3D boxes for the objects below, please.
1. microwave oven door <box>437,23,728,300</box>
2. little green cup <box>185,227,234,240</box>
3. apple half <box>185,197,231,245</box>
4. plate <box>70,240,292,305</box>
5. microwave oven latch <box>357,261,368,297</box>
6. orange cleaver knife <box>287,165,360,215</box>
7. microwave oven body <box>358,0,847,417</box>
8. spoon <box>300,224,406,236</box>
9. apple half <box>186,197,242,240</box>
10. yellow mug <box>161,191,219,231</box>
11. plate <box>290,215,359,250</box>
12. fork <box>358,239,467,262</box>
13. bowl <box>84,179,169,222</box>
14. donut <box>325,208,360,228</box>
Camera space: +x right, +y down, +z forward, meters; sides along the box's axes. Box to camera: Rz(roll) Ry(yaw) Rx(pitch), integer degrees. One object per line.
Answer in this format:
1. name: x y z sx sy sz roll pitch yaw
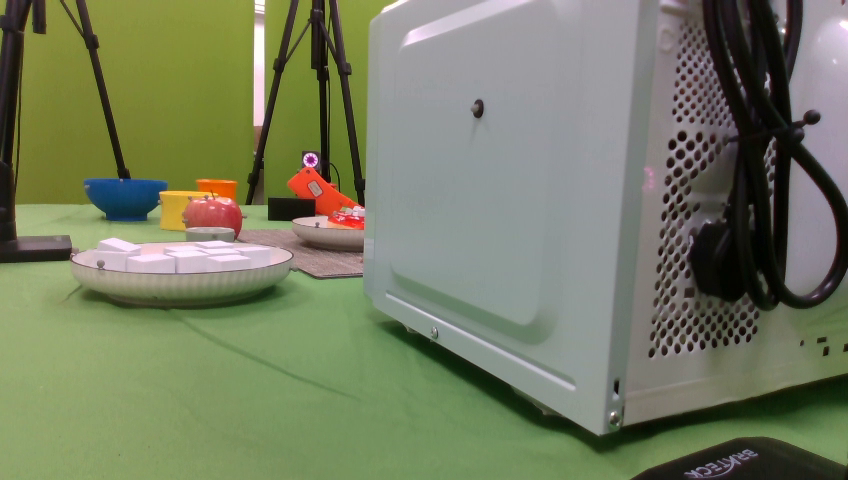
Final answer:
1. microwave oven door: 0.181 -0.072 0.621 0.358 0.243 0.039 -2 9 -29
2. little green cup: -0.285 0.005 0.805 0.061 0.038 0.061 3 8 0
3. apple half: -0.337 -0.031 0.927 0.032 0.081 0.082 13 13 37
4. plate: -0.242 0.031 0.618 0.208 0.039 0.207 2 8 0
5. microwave oven latch: -0.019 0.033 0.531 0.079 0.029 0.030 -1 7 -27
6. orange cleaver knife: -0.211 -0.092 1.382 0.212 0.077 0.012 34 1 -15
7. microwave oven body: 0.211 -0.046 0.474 0.444 0.260 0.324 -1 7 -28
8. spoon: -0.128 -0.018 1.104 0.194 0.021 0.041 0 7 -16
9. apple half: -0.306 -0.026 0.904 0.053 0.074 0.081 14 9 37
10. yellow mug: -0.416 -0.053 1.103 0.130 0.064 0.100 7 8 27
11. plate: -0.110 -0.013 0.973 0.209 0.038 0.209 3 8 0
12. fork: -0.009 0.014 0.871 0.208 0.018 0.028 -5 0 -44
13. bowl: -0.584 -0.078 1.194 0.151 0.077 0.151 3 8 0
14. donut: -0.110 -0.025 0.974 0.099 0.048 0.099 5 8 0
